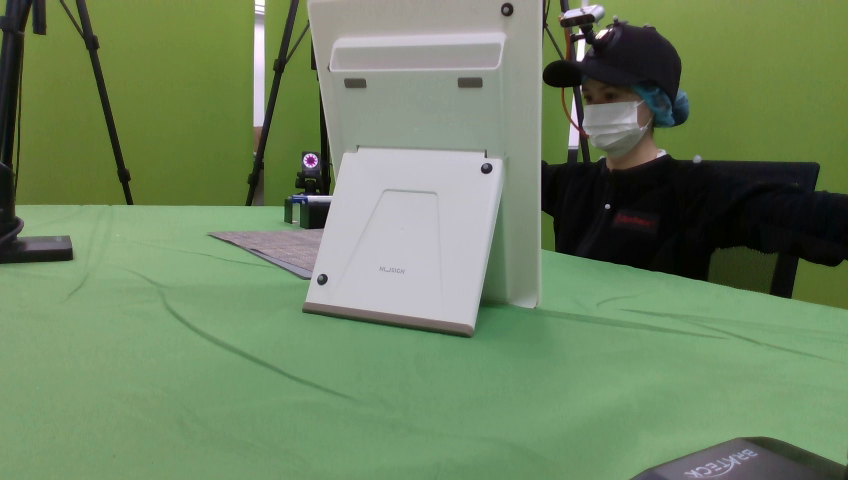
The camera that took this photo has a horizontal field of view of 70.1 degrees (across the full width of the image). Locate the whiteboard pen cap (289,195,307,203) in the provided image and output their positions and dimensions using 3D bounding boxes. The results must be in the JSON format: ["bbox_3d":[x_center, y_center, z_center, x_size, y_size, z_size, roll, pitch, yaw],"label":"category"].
[{"bbox_3d":[-0.247,-0.081,1.189,0.033,0.018,0.018,-4,10,-32],"label":"whiteboard pen cap"}]

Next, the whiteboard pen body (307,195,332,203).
[{"bbox_3d":[-0.195,-0.082,1.223,0.141,0.017,0.017,-2,9,-34],"label":"whiteboard pen body"}]

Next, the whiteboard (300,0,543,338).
[{"bbox_3d":[-0.020,-0.050,0.523,0.216,0.305,0.144,6,27,22],"label":"whiteboard"}]
